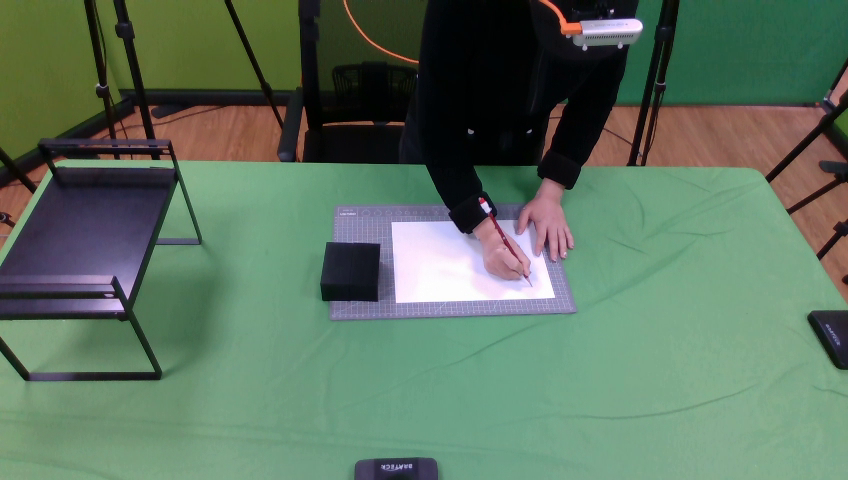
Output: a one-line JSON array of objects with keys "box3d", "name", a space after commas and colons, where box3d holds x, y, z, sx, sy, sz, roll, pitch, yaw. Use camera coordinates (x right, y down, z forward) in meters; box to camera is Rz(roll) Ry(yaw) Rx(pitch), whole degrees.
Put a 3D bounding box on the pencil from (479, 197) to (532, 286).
[{"box3d": [0.153, 0.004, 1.122, 0.012, 0.012, 0.194, -38, 102, -32], "name": "pencil"}]
